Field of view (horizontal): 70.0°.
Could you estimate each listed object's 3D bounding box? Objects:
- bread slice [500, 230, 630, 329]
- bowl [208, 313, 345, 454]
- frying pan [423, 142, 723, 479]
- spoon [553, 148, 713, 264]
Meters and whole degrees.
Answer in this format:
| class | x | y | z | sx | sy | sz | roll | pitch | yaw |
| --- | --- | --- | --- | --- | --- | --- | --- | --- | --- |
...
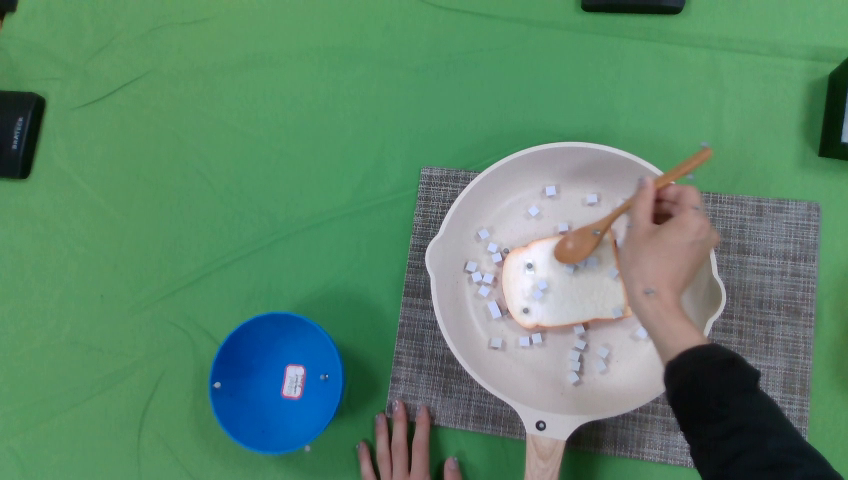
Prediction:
| class | x | y | z | sx | sy | sz | roll | pitch | yaw |
| --- | --- | --- | --- | --- | --- | --- | --- | --- | --- |
| bread slice | 0.153 | 0.048 | 0.681 | 0.134 | 0.018 | 0.106 | -14 | 79 | 5 |
| bowl | -0.155 | 0.159 | 0.686 | 0.151 | 0.077 | 0.151 | -1 | 81 | 8 |
| frying pan | 0.132 | 0.140 | 0.630 | 0.306 | 0.103 | 0.485 | 9 | 74 | 11 |
| spoon | 0.206 | -0.031 | 0.616 | 0.022 | 0.194 | 0.041 | 22 | 45 | -26 |
